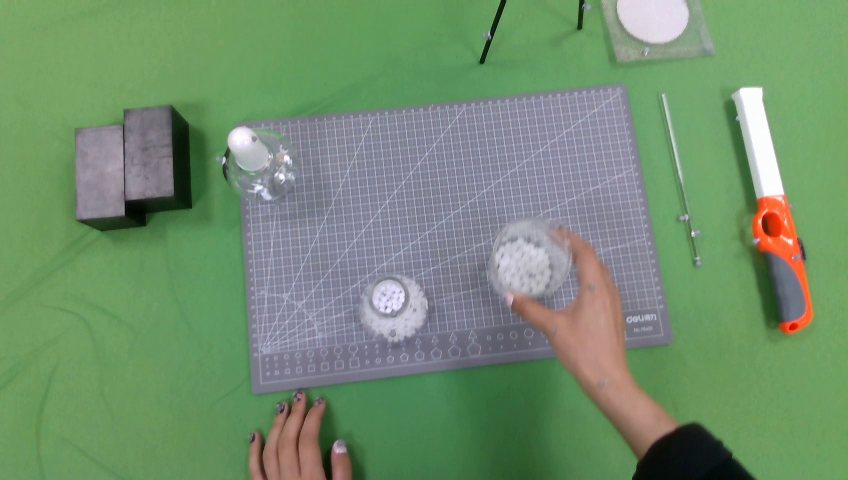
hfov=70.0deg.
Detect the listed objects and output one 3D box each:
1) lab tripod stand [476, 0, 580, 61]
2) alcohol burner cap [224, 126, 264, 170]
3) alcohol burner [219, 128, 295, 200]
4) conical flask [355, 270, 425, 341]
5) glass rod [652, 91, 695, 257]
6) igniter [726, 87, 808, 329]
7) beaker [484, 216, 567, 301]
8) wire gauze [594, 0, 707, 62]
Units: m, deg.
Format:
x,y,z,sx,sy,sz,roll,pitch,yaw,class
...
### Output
x,y,z,sx,sy,sz,roll,pitch,yaw,class
0.110,-0.275,0.657,0.148,0.132,0.148,0,81,-2,lab tripod stand
-0.176,-0.092,0.586,0.034,0.048,0.033,1,71,-2,alcohol burner cap
-0.175,-0.083,0.621,0.078,0.119,0.077,0,80,1,alcohol burner
-0.036,0.060,0.594,0.075,0.122,0.075,0,79,-1,conical flask
0.284,-0.078,0.689,0.008,0.008,0.199,-8,80,-3,glass rod
0.381,-0.040,0.675,0.057,0.025,0.275,-4,79,-13,igniter
0.099,0.021,0.604,0.074,0.100,0.084,42,83,8,beaker
0.269,-0.272,0.725,0.125,0.011,0.121,-8,80,-5,wire gauze
